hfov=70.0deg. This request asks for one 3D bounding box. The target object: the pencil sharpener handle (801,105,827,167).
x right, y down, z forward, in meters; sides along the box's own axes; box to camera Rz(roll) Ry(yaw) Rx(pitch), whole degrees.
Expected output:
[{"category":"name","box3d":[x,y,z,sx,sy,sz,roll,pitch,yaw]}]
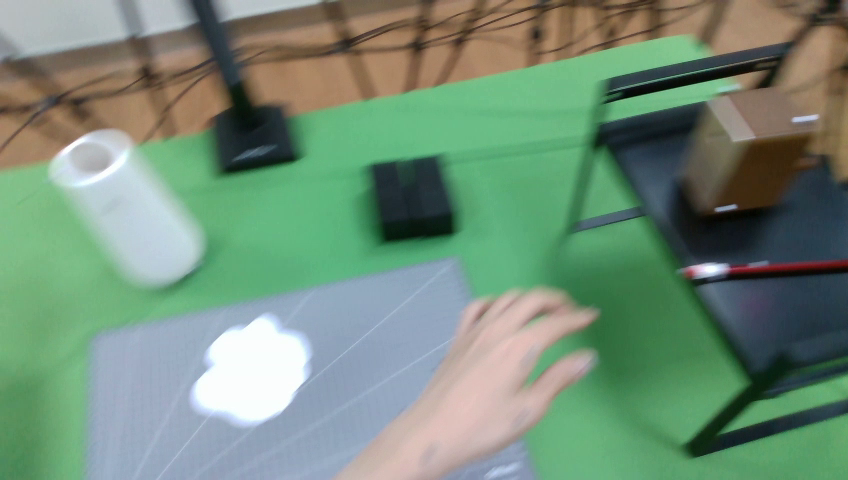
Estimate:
[{"category":"pencil sharpener handle","box3d":[0.348,-0.094,0.543,0.031,0.068,0.035,-8,44,-4]}]

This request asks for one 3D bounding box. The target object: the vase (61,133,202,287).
[{"category":"vase","box3d":[-0.331,-0.030,0.697,0.098,0.202,0.097,-2,55,3]}]

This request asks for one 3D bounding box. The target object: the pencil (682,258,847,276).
[{"category":"pencil","box3d":[0.327,0.022,0.539,0.194,0.012,0.012,-3,55,-3]}]

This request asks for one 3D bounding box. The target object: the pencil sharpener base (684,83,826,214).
[{"category":"pencil sharpener base","box3d":[0.297,-0.081,0.551,0.077,0.108,0.060,-8,55,-5]}]
